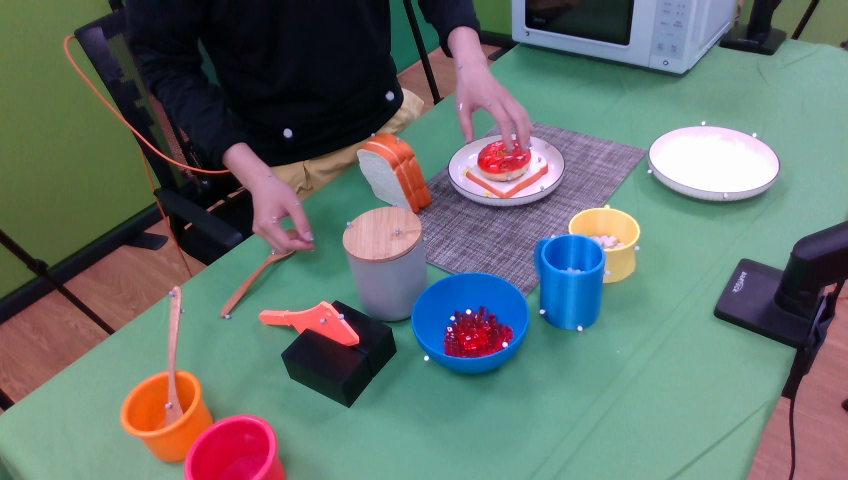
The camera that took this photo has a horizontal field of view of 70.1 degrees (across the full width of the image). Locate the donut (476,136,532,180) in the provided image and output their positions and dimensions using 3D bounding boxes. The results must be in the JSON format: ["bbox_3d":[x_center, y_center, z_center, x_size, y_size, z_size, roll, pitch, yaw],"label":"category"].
[{"bbox_3d":[0.140,-0.146,1.058,0.099,0.048,0.098,-7,41,6],"label":"donut"}]

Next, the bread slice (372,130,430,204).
[{"bbox_3d":[-0.043,-0.126,1.038,0.106,0.135,0.018,29,61,33],"label":"bread slice"}]

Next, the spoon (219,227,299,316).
[{"bbox_3d":[-0.261,0.046,0.954,0.041,0.021,0.194,27,48,10],"label":"spoon"}]

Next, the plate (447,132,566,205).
[{"bbox_3d":[0.146,-0.124,1.076,0.209,0.038,0.208,-4,41,4],"label":"plate"}]

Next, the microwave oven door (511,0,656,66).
[{"bbox_3d":[0.351,-0.539,1.348,0.353,0.245,0.039,24,50,31],"label":"microwave oven door"}]

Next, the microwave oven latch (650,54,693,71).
[{"bbox_3d":[0.531,-0.386,1.301,0.078,0.029,0.030,26,51,33],"label":"microwave oven latch"}]

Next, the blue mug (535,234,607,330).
[{"bbox_3d":[0.191,0.048,0.824,0.082,0.106,0.115,-26,44,-20],"label":"blue mug"}]

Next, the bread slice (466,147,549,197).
[{"bbox_3d":[0.156,-0.129,1.084,0.132,0.019,0.104,-34,48,-24],"label":"bread slice"}]

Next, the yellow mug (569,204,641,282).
[{"bbox_3d":[0.268,-0.005,0.904,0.099,0.064,0.130,7,41,15],"label":"yellow mug"}]

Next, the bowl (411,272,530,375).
[{"bbox_3d":[0.061,0.120,0.780,0.151,0.077,0.150,-4,40,4],"label":"bowl"}]

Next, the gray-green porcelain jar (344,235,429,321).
[{"bbox_3d":[-0.049,0.042,0.849,0.106,0.127,0.105,-4,41,4],"label":"gray-green porcelain jar"}]

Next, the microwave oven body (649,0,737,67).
[{"bbox_3d":[0.475,-0.602,1.411,0.438,0.261,0.327,23,50,32],"label":"microwave oven body"}]

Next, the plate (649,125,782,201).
[{"bbox_3d":[0.493,-0.127,1.036,0.207,0.039,0.206,-4,41,4],"label":"plate"}]

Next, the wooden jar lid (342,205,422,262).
[{"bbox_3d":[-0.055,-0.005,0.808,0.108,0.021,0.108,-6,40,6],"label":"wooden jar lid"}]

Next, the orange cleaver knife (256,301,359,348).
[{"bbox_3d":[-0.160,0.115,0.813,0.210,0.077,0.012,-9,29,48],"label":"orange cleaver knife"}]

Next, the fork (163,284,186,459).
[{"bbox_3d":[-0.302,0.157,0.733,0.028,0.019,0.207,-3,84,15],"label":"fork"}]
